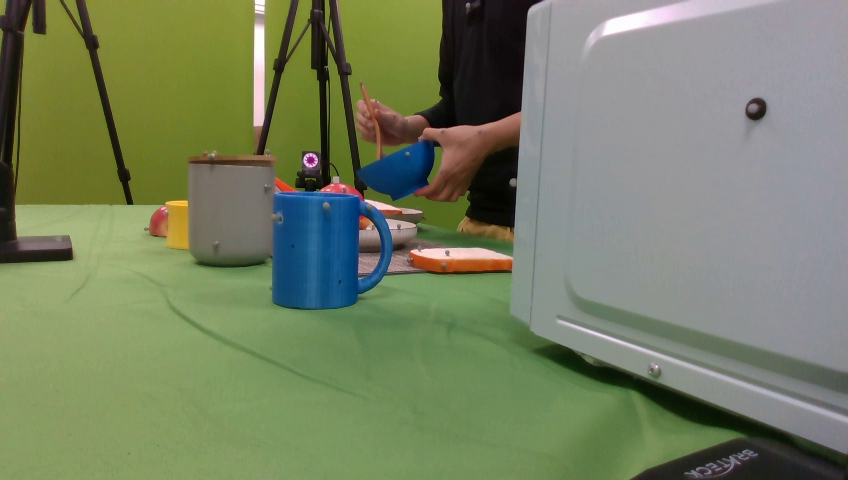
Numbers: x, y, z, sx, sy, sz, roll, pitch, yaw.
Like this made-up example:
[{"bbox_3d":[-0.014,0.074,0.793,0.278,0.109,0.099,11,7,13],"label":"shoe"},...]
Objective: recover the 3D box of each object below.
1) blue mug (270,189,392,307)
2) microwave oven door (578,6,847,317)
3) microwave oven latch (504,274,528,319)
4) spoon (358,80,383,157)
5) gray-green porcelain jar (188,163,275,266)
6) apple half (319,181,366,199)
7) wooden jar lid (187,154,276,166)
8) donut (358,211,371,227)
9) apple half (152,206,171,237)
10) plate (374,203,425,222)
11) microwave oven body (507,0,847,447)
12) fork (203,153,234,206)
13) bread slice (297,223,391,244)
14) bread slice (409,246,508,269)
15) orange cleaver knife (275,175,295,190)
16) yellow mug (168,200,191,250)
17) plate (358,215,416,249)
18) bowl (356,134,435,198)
[{"bbox_3d":[-0.089,0.005,0.588,0.117,0.106,0.082,1,7,-10],"label":"blue mug"},{"bbox_3d":[0.294,-0.067,0.570,0.358,0.243,0.039,-3,9,-31],"label":"microwave oven door"},{"bbox_3d":[0.100,0.041,0.471,0.079,0.029,0.030,-1,7,-27],"label":"microwave oven latch"},{"bbox_3d":[-0.088,-0.201,1.104,0.021,0.193,0.042,-13,-1,15],"label":"spoon"},{"bbox_3d":[-0.246,-0.034,0.779,0.106,0.126,0.106,1,7,0],"label":"gray-green porcelain jar"},{"bbox_3d":[-0.130,-0.077,0.952,0.081,0.033,0.081,3,15,0],"label":"apple half"},{"bbox_3d":[-0.244,-0.097,0.771,0.108,0.020,0.108,-1,7,0],"label":"wooden jar lid"},{"bbox_3d":[-0.132,-0.041,0.959,0.099,0.048,0.099,3,8,0],"label":"donut"},{"bbox_3d":[-0.415,-0.034,1.017,0.081,0.053,0.074,1,10,-8],"label":"apple half"},{"bbox_3d":[-0.102,-0.053,1.299,0.209,0.038,0.209,2,8,0],"label":"plate"},{"bbox_3d":[0.331,-0.042,0.425,0.444,0.260,0.324,-2,8,-31],"label":"microwave oven body"},{"bbox_3d":[-0.480,-0.135,1.411,0.028,0.018,0.207,1,-34,-1],"label":"fork"},{"bbox_3d":[-0.121,-0.012,0.971,0.106,0.018,0.135,9,12,41],"label":"bread slice"},{"bbox_3d":[0.048,0.022,0.816,0.132,0.019,0.104,0,7,-24],"label":"bread slice"},{"bbox_3d":[-0.283,-0.087,1.343,0.212,0.077,0.012,24,-16,-41],"label":"orange cleaver knife"},{"bbox_3d":[-0.319,-0.023,0.904,0.130,0.064,0.100,8,10,36],"label":"yellow mug"},{"bbox_3d":[-0.116,-0.014,0.967,0.208,0.039,0.207,2,7,0],"label":"plate"},{"bbox_3d":[-0.039,-0.125,1.090,0.151,0.077,0.151,-24,6,3],"label":"bowl"}]
